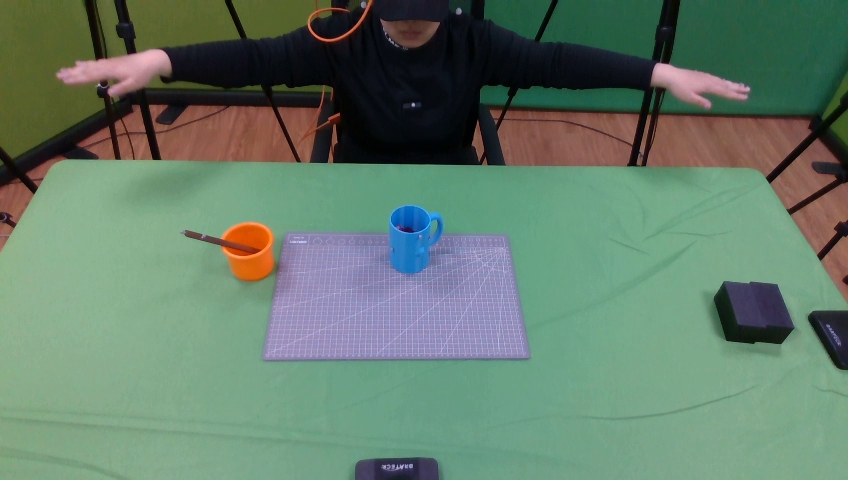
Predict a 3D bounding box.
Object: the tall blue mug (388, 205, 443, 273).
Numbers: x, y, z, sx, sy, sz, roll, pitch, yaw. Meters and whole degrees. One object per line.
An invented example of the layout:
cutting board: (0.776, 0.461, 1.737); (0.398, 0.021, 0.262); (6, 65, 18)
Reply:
tall blue mug: (-0.021, -0.010, 1.143); (0.077, 0.108, 0.107); (23, 49, 18)

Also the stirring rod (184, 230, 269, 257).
stirring rod: (-0.349, 0.007, 1.084); (0.177, 0.006, 0.014); (21, 30, -51)
